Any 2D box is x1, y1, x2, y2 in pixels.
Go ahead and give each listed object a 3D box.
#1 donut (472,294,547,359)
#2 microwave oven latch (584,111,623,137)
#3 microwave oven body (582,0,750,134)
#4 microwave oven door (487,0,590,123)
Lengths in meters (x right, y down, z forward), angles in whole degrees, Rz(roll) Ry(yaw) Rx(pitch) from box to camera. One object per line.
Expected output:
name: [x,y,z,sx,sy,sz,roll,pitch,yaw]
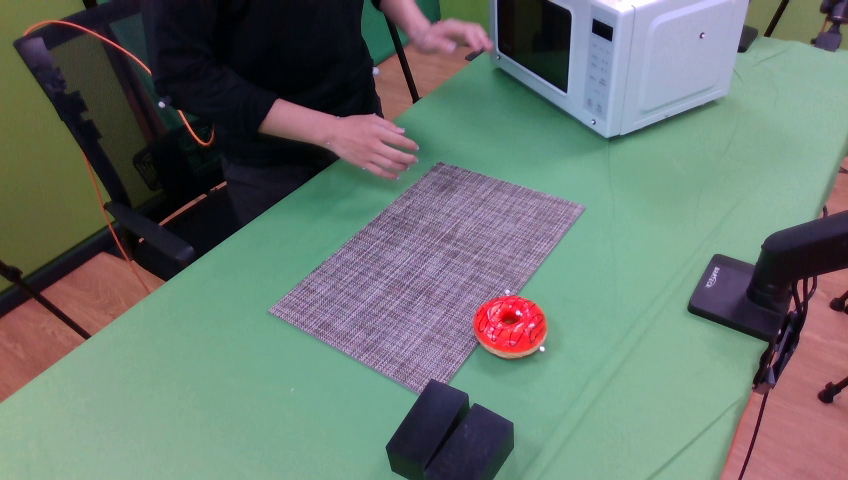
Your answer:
donut: [0.114,0.114,0.803,0.099,0.048,0.098,0,40,1]
microwave oven latch: [0.337,-0.222,1.142,0.030,0.029,0.078,-21,42,-14]
microwave oven body: [0.382,-0.445,1.246,0.327,0.261,0.437,-22,42,-16]
microwave oven door: [0.232,-0.420,1.231,0.039,0.245,0.352,-22,42,-16]
